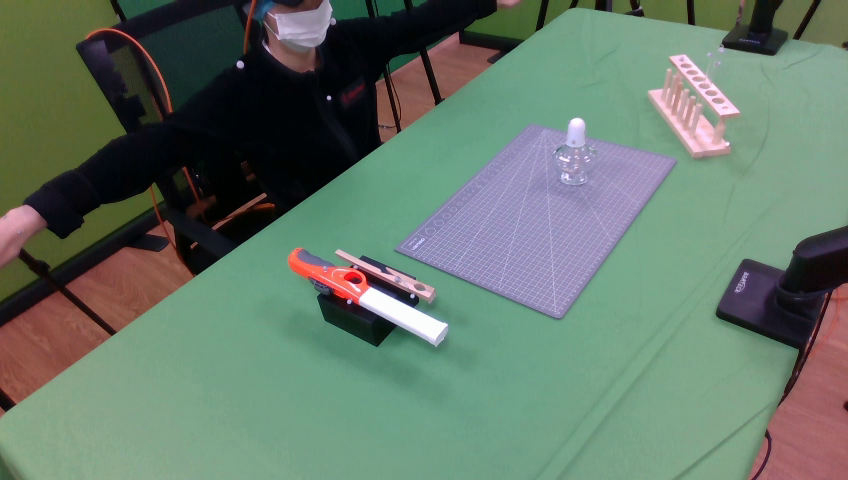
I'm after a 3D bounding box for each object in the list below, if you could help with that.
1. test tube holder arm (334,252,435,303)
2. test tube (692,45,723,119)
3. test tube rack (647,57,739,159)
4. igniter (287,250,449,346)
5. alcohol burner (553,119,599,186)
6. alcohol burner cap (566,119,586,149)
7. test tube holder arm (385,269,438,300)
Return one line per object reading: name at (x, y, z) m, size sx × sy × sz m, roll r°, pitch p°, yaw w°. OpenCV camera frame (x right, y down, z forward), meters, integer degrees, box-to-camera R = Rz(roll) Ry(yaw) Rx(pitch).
test tube holder arm at (-0.060, 0.051, 0.853) m, size 0.177 × 0.015 × 0.013 m, roll 19°, pitch 54°, yaw 29°
test tube at (0.517, -0.285, 1.106) m, size 0.017 × 0.151 × 0.017 m, roll -2°, pitch 46°, yaw 3°
test tube rack at (0.504, -0.257, 1.153) m, size 0.067 × 0.085 × 0.241 m, roll -8°, pitch 40°, yaw 2°
igniter at (-0.087, 0.073, 0.825) m, size 0.274 × 0.025 × 0.057 m, roll 23°, pitch 48°, yaw 28°
alcohol burner at (0.261, -0.153, 1.042) m, size 0.078 × 0.119 × 0.077 m, roll -6°, pitch 40°, yaw 6°
alcohol burner cap at (0.257, -0.180, 1.018) m, size 0.034 × 0.048 × 0.033 m, roll -4°, pitch 36°, yaw 4°
test tube holder arm at (-0.020, 0.060, 0.834) m, size 0.087 × 0.015 × 0.010 m, roll 20°, pitch 54°, yaw 30°
